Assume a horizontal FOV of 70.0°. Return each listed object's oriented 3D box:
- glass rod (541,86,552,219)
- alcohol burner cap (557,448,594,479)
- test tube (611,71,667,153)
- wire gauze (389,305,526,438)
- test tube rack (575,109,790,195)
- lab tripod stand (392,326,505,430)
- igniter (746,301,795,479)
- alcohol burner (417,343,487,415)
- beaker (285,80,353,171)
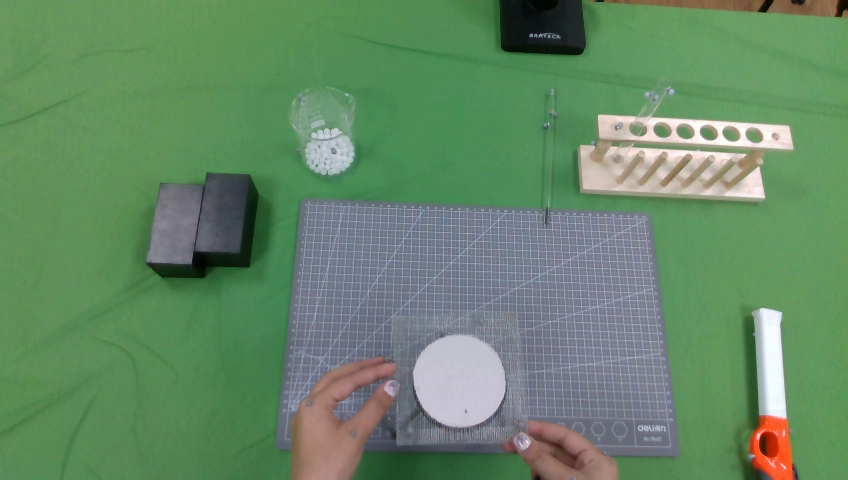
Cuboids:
[{"bbox_3d":[0.163,-0.119,0.805,0.008,0.008,0.198,7,71,-2],"label":"glass rod"},{"bbox_3d":[0.167,0.242,0.657,0.034,0.048,0.033,1,69,-3],"label":"alcohol burner cap"},{"bbox_3d":[0.256,-0.150,0.731,0.017,0.151,0.017,1,66,-2],"label":"test tube"},{"bbox_3d":[0.030,0.121,0.567,0.125,0.011,0.120,-1,70,-3],"label":"wire gauze"},{"bbox_3d":[0.326,-0.111,0.774,0.242,0.085,0.066,2,69,-3],"label":"test tube rack"},{"bbox_3d":[0.027,0.148,0.629,0.148,0.132,0.147,1,69,-2],"label":"lab tripod stand"},{"bbox_3d":[0.395,0.205,0.695,0.057,0.025,0.275,13,69,-10],"label":"igniter"},{"bbox_3d":[0.032,0.144,0.641,0.078,0.120,0.077,2,68,-5],"label":"alcohol burner"},{"bbox_3d":[-0.122,-0.137,0.744,0.084,0.101,0.073,-35,76,-16],"label":"beaker"}]
